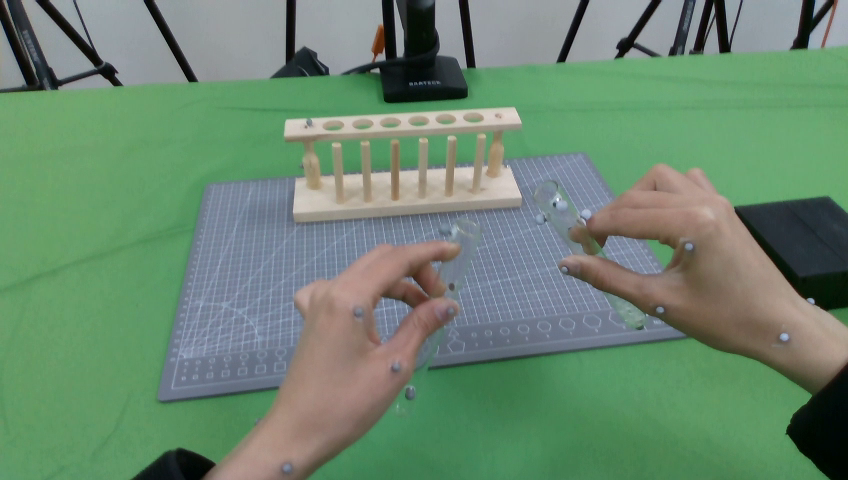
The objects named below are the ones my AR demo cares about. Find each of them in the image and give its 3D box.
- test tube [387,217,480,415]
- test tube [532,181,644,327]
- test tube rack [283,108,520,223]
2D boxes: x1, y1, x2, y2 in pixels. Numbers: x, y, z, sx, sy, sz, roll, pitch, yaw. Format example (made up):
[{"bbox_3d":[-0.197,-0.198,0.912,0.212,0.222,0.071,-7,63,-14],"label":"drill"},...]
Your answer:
[{"bbox_3d":[0.002,0.051,0.361,0.017,0.151,0.017,14,31,-8],"label":"test tube"},{"bbox_3d":[0.104,0.014,0.367,0.017,0.152,0.017,-22,45,25],"label":"test tube"},{"bbox_3d":[-0.020,-0.080,0.641,0.243,0.086,0.066,-4,40,-5],"label":"test tube rack"}]
